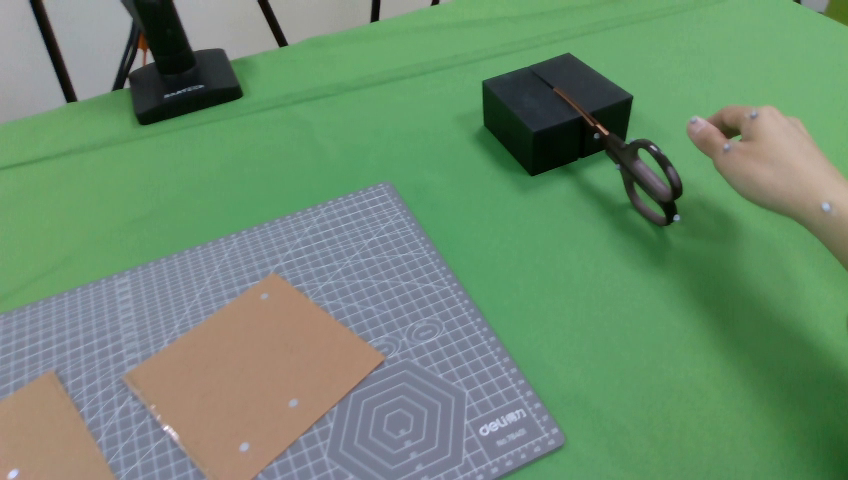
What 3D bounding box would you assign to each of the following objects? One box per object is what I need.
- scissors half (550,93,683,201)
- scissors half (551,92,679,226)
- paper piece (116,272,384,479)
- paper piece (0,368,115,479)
[{"bbox_3d":[0.156,-0.088,0.516,0.013,0.040,0.173,-29,43,-7],"label":"scissors half"},{"bbox_3d":[0.160,-0.076,0.531,0.013,0.040,0.173,-26,60,-11],"label":"scissors half"},{"bbox_3d":[-0.123,0.091,0.431,0.135,0.009,0.138,34,56,29],"label":"paper piece"},{"bbox_3d":[-0.277,0.159,0.378,0.136,0.004,0.134,-34,51,-26],"label":"paper piece"}]
